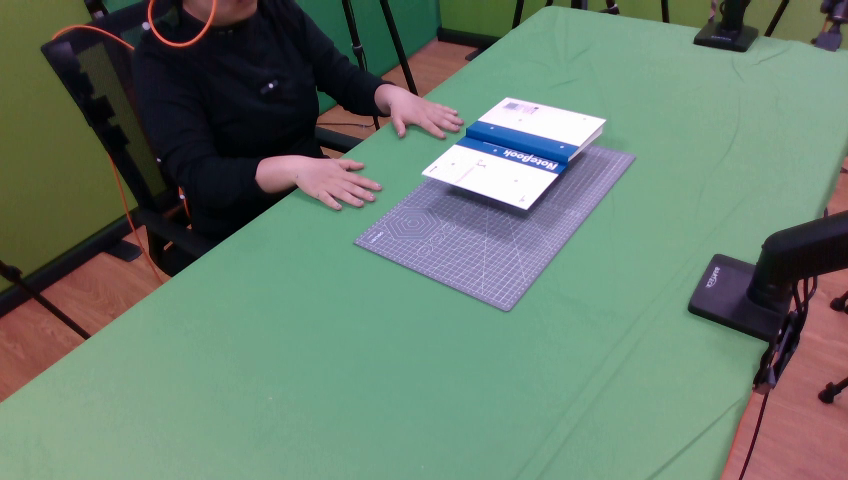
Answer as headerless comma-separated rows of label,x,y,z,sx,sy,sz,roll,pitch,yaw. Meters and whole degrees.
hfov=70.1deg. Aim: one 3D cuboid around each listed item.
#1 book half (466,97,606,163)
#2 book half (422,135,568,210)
book half,0.203,-0.207,1.105,0.208,0.016,0.149,22,47,31
book half,0.119,-0.121,1.027,0.208,0.007,0.143,22,49,30
